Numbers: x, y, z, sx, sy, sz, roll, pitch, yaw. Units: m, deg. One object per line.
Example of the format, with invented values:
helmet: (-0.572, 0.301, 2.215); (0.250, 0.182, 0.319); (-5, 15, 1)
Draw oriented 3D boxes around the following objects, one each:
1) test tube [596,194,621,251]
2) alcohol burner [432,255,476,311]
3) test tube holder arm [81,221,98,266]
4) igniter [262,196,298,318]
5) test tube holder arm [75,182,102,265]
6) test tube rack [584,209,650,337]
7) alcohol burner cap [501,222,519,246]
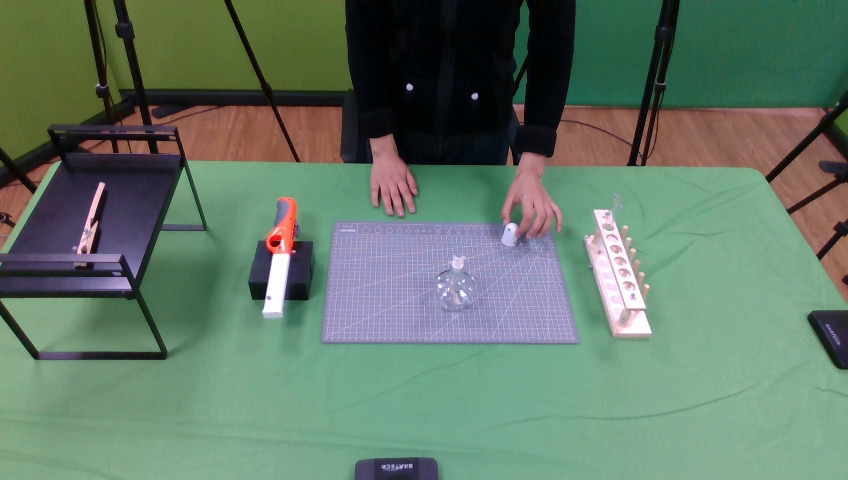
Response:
test tube: (0.346, -0.029, 1.141); (0.017, 0.151, 0.017); (0, 50, 0)
alcohol burner: (0.055, 0.070, 1.068); (0.078, 0.119, 0.077); (3, 45, -3)
test tube holder arm: (-0.503, 0.004, 0.910); (0.010, 0.015, 0.087); (26, 32, -36)
igniter: (-0.259, 0.020, 1.089); (0.057, 0.025, 0.274); (-2, 49, -3)
test tube holder arm: (-0.518, -0.030, 0.937); (0.013, 0.015, 0.177); (25, 33, -37)
test tube rack: (0.365, 0.056, 1.129); (0.067, 0.085, 0.240); (1, 46, -4)
alcohol burner cap: (0.175, -0.014, 1.206); (0.034, 0.048, 0.033); (3, 47, -3)
